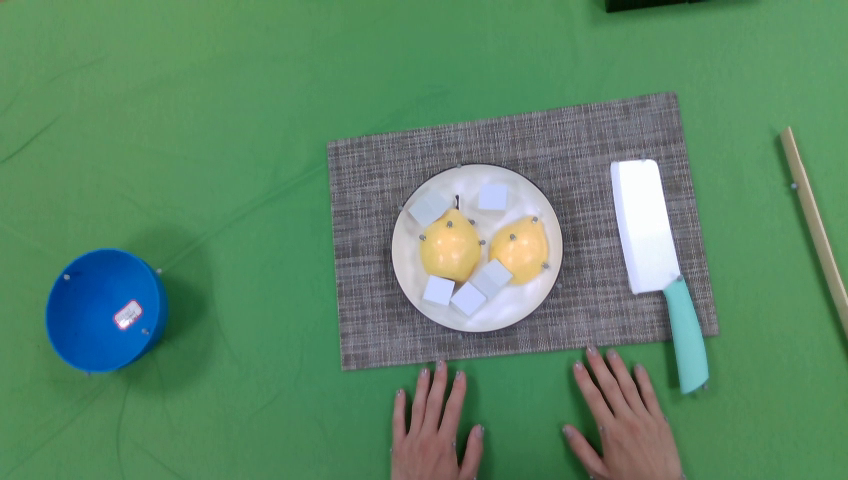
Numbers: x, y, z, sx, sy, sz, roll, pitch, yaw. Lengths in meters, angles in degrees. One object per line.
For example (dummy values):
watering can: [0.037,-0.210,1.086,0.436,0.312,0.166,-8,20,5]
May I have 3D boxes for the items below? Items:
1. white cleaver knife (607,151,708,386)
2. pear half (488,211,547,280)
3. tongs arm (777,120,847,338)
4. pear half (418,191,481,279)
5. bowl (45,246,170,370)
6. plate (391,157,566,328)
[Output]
white cleaver knife: [0.273,0.028,0.718,0.066,0.022,0.285,-12,75,15]
pear half: [0.114,0.004,0.724,0.070,0.031,0.088,25,91,7]
tongs arm: [0.473,0.043,0.684,0.028,0.028,0.385,-15,79,3]
pear half: [0.031,-0.011,0.729,0.076,0.056,0.109,4,77,4]
bowl: [-0.381,0.088,0.764,0.151,0.077,0.151,-1,80,7]
plate: [0.066,0.004,0.736,0.207,0.039,0.207,-1,80,8]
